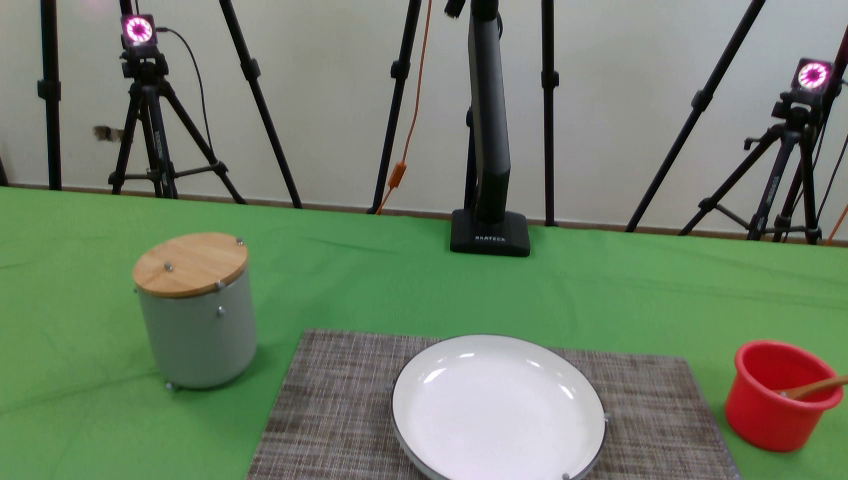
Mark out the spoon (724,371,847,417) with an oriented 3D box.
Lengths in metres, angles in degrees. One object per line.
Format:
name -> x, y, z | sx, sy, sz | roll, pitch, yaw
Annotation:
spoon -> 0.389, 0.139, 0.583 | 0.193, 0.022, 0.041 | -31, 8, 38

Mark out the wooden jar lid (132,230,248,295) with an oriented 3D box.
wooden jar lid -> -0.230, 0.025, 0.603 | 0.108, 0.021, 0.107 | 0, 32, 0

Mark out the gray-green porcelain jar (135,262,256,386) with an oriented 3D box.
gray-green porcelain jar -> -0.235, 0.080, 0.636 | 0.106, 0.127, 0.105 | 3, 31, -1

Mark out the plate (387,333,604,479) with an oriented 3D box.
plate -> 0.067, 0.171, 0.594 | 0.208, 0.039, 0.206 | 3, 31, -1
